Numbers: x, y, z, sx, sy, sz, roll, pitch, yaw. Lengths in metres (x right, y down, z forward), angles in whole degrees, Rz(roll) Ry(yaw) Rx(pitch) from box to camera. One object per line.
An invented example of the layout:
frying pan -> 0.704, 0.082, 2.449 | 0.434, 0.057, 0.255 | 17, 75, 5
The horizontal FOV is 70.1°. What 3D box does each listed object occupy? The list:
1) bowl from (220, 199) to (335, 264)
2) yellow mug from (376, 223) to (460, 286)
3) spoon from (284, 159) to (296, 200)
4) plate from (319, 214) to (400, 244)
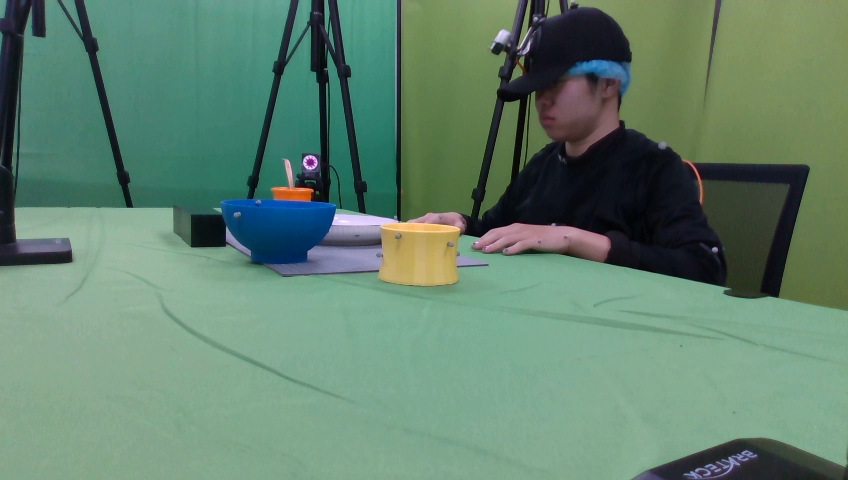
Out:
bowl -> -0.197, -0.012, 0.819 | 0.151, 0.077, 0.151 | 3, 8, 0
yellow mug -> -0.002, 0.014, 0.754 | 0.099, 0.064, 0.131 | 5, 7, 20
spoon -> -0.302, -0.118, 1.370 | 0.042, 0.193, 0.021 | 4, -39, -24
plate -> -0.147, -0.020, 1.060 | 0.209, 0.038, 0.209 | 3, 7, 0
